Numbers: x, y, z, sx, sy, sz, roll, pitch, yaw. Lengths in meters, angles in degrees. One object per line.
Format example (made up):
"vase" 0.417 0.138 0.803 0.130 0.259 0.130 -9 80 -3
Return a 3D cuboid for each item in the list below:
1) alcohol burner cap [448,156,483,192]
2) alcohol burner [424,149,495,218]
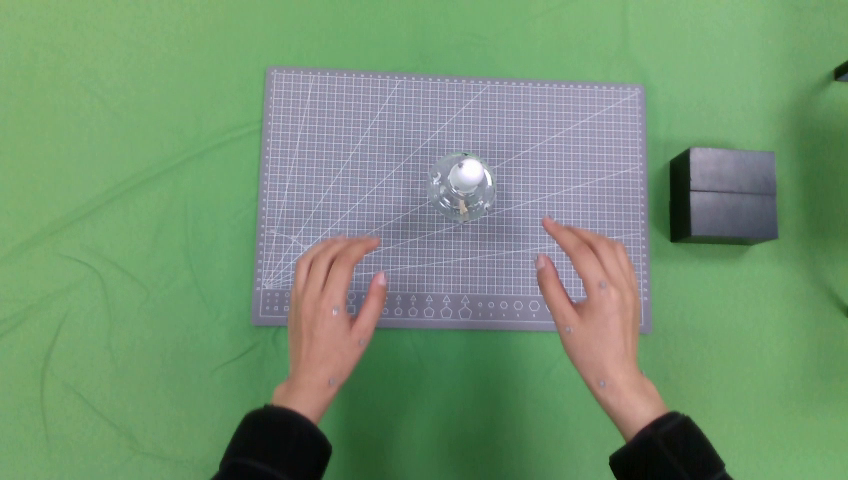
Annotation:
"alcohol burner cap" 0.043 -0.068 0.611 0.034 0.048 0.034 1 85 -6
"alcohol burner" 0.040 -0.064 0.645 0.078 0.119 0.077 1 82 -6
